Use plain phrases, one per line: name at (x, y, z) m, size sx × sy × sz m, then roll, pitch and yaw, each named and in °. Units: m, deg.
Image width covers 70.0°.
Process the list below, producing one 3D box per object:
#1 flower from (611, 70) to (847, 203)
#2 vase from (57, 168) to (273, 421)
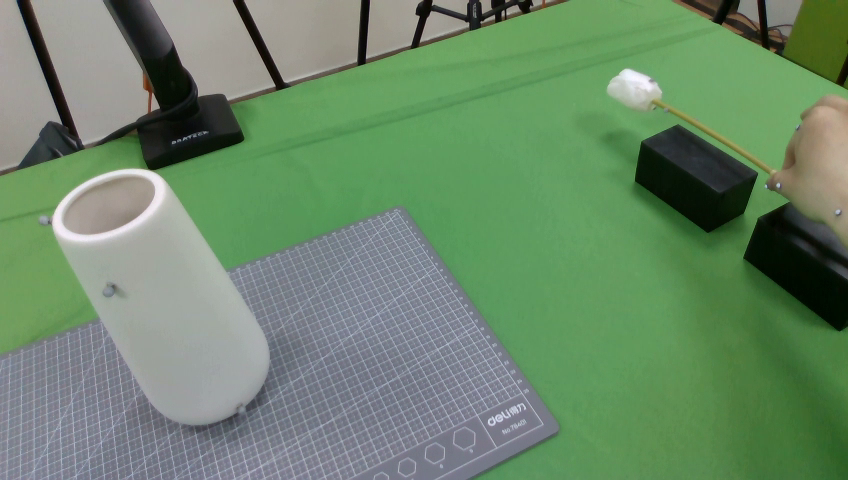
flower at (0.294, -0.087, 0.556) m, size 0.044 × 0.038 × 0.357 m, roll -10°, pitch 35°, yaw -19°
vase at (-0.179, 0.046, 0.439) m, size 0.098 × 0.202 × 0.097 m, roll -4°, pitch 43°, yaw 5°
